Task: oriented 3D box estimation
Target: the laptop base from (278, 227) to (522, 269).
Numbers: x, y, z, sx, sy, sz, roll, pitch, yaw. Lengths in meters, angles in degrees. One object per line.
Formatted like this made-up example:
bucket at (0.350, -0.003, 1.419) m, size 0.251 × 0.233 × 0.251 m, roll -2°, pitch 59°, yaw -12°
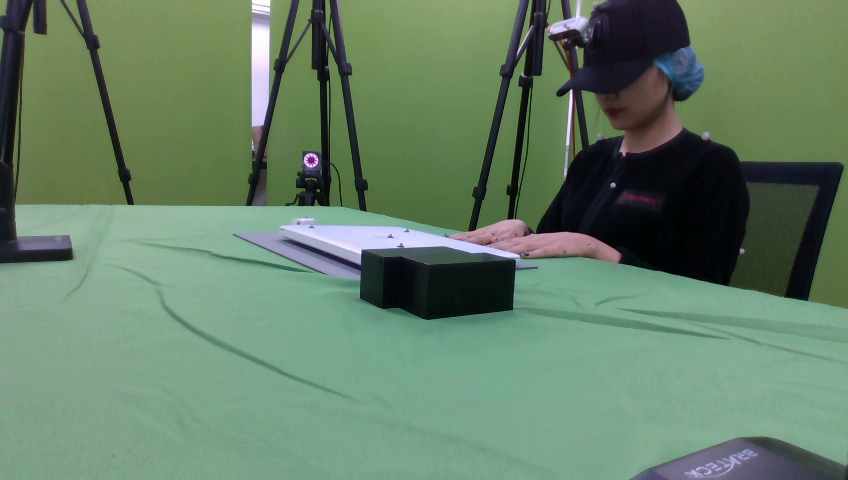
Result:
laptop base at (-0.053, 0.010, 0.911) m, size 0.237 × 0.023 × 0.352 m, roll 2°, pitch 6°, yaw -32°

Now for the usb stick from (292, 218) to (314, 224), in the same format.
usb stick at (-0.222, -0.026, 1.091) m, size 0.021 × 0.027 × 0.059 m, roll 5°, pitch 10°, yaw 21°

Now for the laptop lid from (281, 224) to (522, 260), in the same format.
laptop lid at (-0.050, -0.002, 0.911) m, size 0.243 × 0.013 × 0.355 m, roll 1°, pitch 7°, yaw -31°
